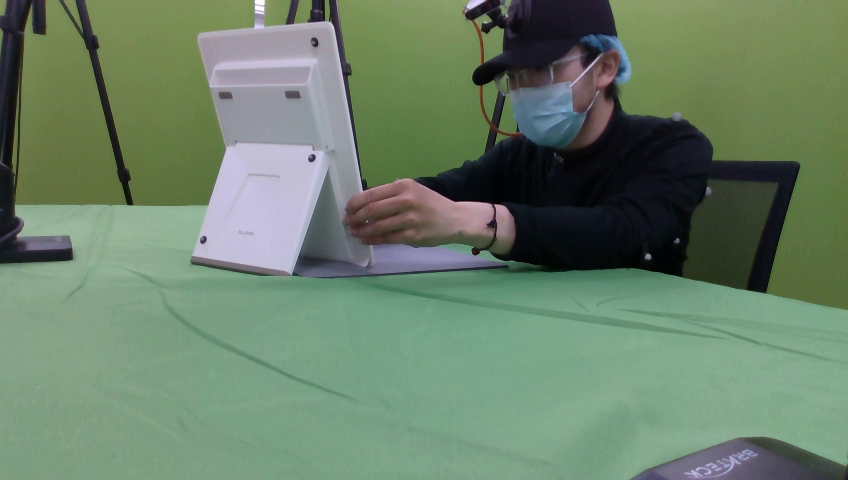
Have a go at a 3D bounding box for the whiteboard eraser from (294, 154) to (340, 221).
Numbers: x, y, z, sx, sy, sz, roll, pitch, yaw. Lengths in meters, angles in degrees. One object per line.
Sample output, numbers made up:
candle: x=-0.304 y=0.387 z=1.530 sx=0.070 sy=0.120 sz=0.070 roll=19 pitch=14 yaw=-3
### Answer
whiteboard eraser: x=-0.150 y=-0.068 z=0.824 sx=0.042 sy=0.055 sz=0.112 roll=-34 pitch=-6 yaw=-26

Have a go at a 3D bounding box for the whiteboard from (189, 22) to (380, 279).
whiteboard: x=-0.206 y=-0.086 z=0.728 sx=0.216 sy=0.305 sz=0.144 roll=7 pitch=30 yaw=30
